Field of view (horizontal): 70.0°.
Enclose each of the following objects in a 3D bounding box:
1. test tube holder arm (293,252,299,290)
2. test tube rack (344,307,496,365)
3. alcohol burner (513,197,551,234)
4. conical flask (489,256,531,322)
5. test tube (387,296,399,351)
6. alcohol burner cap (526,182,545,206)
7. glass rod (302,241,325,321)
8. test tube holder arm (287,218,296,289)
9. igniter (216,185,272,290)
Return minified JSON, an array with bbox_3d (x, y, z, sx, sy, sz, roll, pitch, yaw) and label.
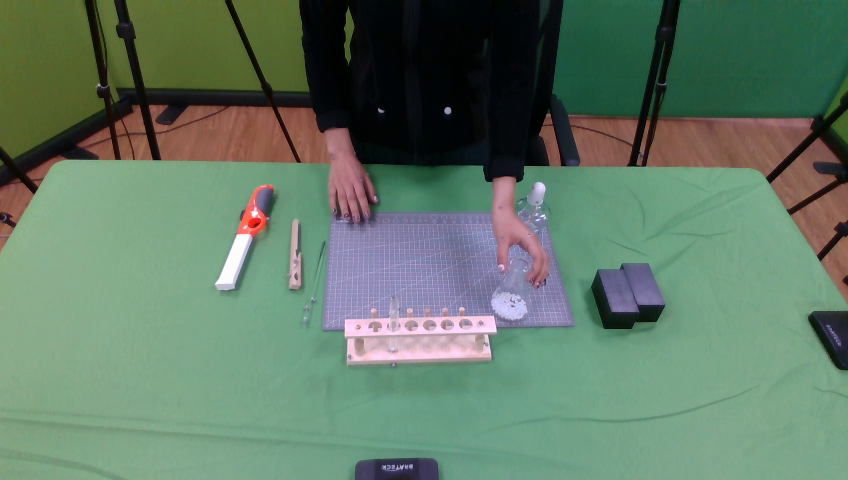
[{"bbox_3d":[-0.241,0.056,1.131,0.010,0.015,0.087,25,35,-33],"label":"test tube holder arm"},{"bbox_3d":[-0.009,0.154,1.007,0.242,0.085,0.066,-1,46,-5],"label":"test tube rack"},{"bbox_3d":[0.220,-0.069,1.217,0.078,0.119,0.077,3,47,-3],"label":"alcohol burner"},{"bbox_3d":[0.158,0.081,1.061,0.075,0.122,0.075,2,46,-2],"label":"conical flask"},{"bbox_3d":[-0.049,0.134,0.953,0.017,0.151,0.017,2,51,-3],"label":"test tube"},{"bbox_3d":[0.222,-0.093,1.189,0.034,0.048,0.033,2,54,-3],"label":"alcohol burner cap"},{"bbox_3d":[-0.203,0.071,1.124,0.008,0.008,0.198,4,44,1],"label":"glass rod"},{"bbox_3d":[-0.253,0.022,1.158,0.013,0.015,0.177,24,36,-34],"label":"test tube holder arm"},{"bbox_3d":[-0.347,-0.014,1.182,0.057,0.025,0.275,-1,45,8],"label":"igniter"}]
